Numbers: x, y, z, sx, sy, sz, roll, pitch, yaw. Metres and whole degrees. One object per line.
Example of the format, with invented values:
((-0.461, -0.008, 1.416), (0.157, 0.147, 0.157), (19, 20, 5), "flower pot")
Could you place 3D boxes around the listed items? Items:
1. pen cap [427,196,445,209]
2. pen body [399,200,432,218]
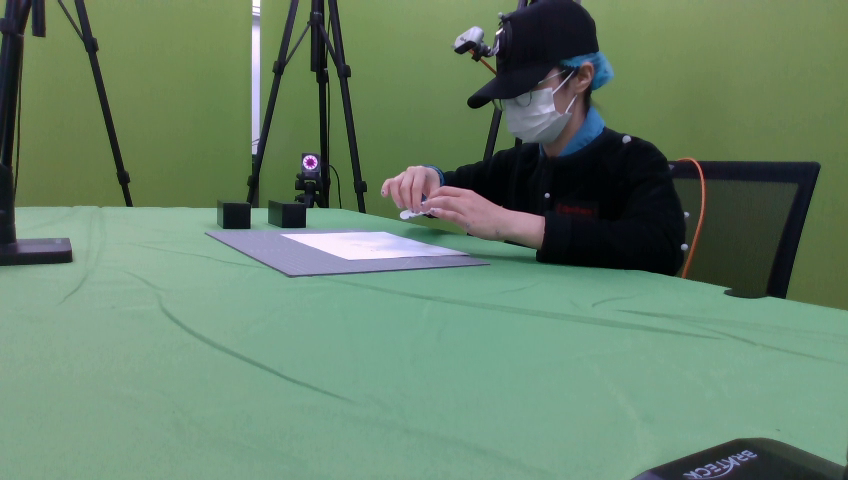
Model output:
((0.020, -0.061, 0.977), (0.017, 0.017, 0.038), (-1, -5, -25), "pen cap")
((-0.008, -0.054, 1.033), (0.017, 0.017, 0.143), (-2, -5, -26), "pen body")
